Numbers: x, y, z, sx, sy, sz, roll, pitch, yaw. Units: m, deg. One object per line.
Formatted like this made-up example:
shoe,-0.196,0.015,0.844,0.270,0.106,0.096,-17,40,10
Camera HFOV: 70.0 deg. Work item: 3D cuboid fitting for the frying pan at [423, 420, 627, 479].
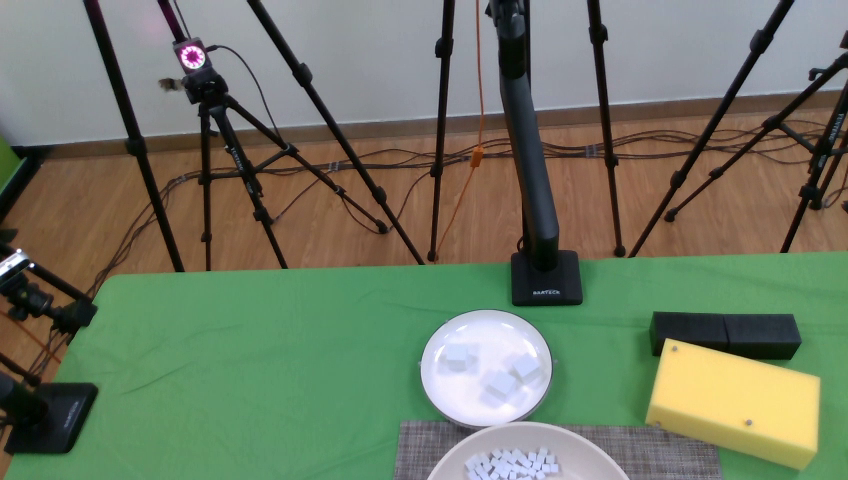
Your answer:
frying pan,0.112,0.444,0.687,0.306,0.104,0.484,1,41,12

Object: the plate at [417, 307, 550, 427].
plate,0.094,0.201,0.954,0.207,0.039,0.205,-5,49,6

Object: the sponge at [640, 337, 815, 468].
sponge,0.426,0.225,0.857,0.206,0.061,0.117,13,50,20
